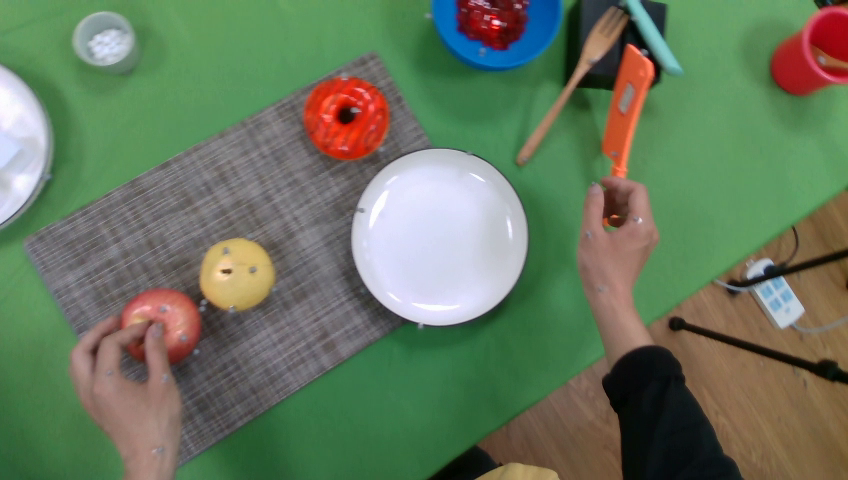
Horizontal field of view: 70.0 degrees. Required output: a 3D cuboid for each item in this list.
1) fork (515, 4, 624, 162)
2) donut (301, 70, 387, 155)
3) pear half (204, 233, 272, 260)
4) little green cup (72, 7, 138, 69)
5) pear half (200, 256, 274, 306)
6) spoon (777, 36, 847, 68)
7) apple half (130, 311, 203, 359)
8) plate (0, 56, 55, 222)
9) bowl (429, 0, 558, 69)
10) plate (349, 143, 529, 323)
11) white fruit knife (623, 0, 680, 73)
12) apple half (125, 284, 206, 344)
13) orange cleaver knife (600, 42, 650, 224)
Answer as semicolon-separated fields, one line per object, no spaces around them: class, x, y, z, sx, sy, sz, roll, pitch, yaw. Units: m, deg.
fork;0.168;-0.182;0.719;0.028;0.018;0.207;29;103;-12
donut;-0.092;-0.147;0.701;0.099;0.048;0.099;0;87;-5
pear half;-0.200;0.008;0.651;0.070;0.088;0.031;-2;85;-2
little green cup;-0.355;-0.224;0.681;0.061;0.038;0.061;1;85;-7
pear half;-0.200;0.042;0.639;0.076;0.110;0.056;-2;85;-4
spoon;0.521;-0.208;0.737;0.041;0.022;0.191;-37;47;-9
apple half;-0.265;0.106;0.643;0.081;0.081;0.033;-28;87;-9
plate;-0.505;-0.105;0.652;0.208;0.039;0.207;1;85;-7
bowl;0.075;-0.267;0.719;0.152;0.077;0.151;1;86;-7
plate;0.017;-0.008;0.706;0.209;0.038;0.208;1;85;-7
white fruit knife;0.246;-0.288;0.724;0.027;0.016;0.207;-28;87;-37
apple half;-0.280;0.076;0.644;0.081;0.074;0.053;-41;89;-2
orange cleaver knife;0.231;-0.124;0.725;0.012;0.076;0.212;1;114;-9
